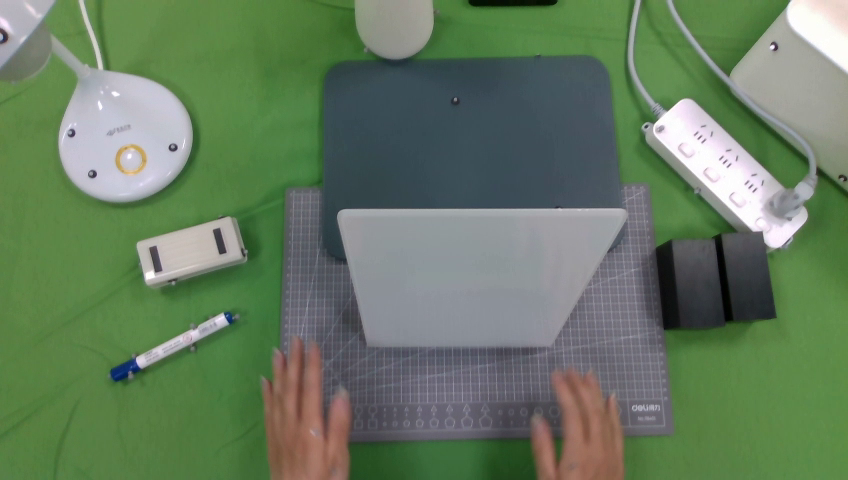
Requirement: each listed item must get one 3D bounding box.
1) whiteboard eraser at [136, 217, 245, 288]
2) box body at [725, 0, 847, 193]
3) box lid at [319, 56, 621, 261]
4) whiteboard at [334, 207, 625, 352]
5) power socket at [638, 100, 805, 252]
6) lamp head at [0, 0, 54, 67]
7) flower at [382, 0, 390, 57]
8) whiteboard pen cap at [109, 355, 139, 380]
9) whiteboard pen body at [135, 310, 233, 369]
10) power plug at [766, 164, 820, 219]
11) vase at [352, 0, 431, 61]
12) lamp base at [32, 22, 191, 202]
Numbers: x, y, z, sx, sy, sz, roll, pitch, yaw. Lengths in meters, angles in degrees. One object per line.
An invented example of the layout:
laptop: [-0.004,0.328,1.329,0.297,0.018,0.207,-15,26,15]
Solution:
whiteboard eraser: [-0.271,0.014,0.706,0.113,0.042,0.055,-17,81,-5]
box body: [0.581,-0.182,0.707,0.363,0.161,0.254,43,80,8]
box lid: [0.056,-0.106,0.756,0.372,0.015,0.262,-2,77,-2]
whiteboard: [0.041,-0.005,0.605,0.217,0.308,0.142,1,62,0]
power socket: [0.366,-0.080,0.747,0.072,0.033,0.226,-41,81,-10]
lamp head: [-0.326,-0.175,0.394,0.112,0.124,0.111,-24,44,26]
flower: [-0.032,-0.329,0.624,0.044,0.364,0.038,37,63,13]
whiteboard pen cap: [-0.338,0.143,0.687,0.033,0.018,0.018,-28,79,-5]
whiteboard pen body: [-0.285,0.119,0.694,0.141,0.017,0.017,-28,79,-6]
power plug: [0.439,-0.052,0.718,0.072,0.053,0.035,-31,78,-12]
vase: [-0.038,-0.294,0.700,0.098,0.201,0.097,1,75,-2]
lamp base: [-0.373,-0.151,0.669,0.160,0.181,0.178,-32,77,-8]
